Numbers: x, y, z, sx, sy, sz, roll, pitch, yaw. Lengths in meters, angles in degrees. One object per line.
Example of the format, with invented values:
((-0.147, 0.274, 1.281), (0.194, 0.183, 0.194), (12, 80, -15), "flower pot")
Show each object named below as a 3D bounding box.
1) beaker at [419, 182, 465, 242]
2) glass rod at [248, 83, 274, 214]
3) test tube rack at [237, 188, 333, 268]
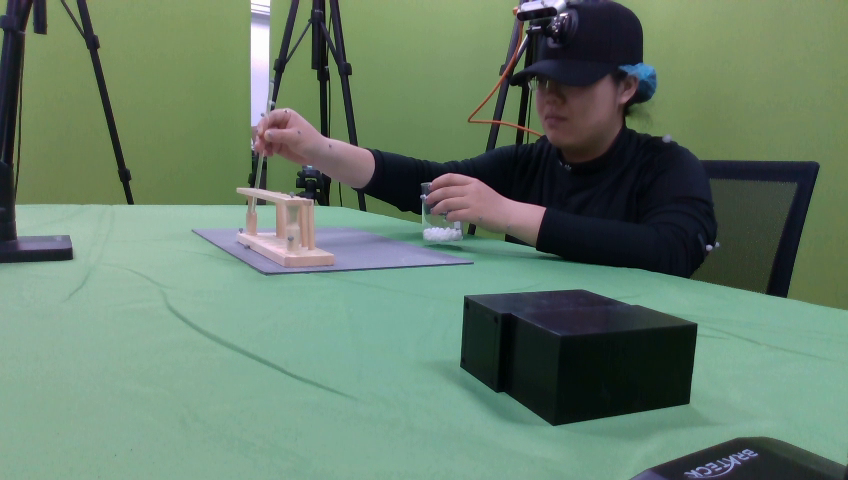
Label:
((0.034, -0.047, 1.017), (0.083, 0.100, 0.074), (3, 6, 42), "beaker")
((-0.245, -0.137, 0.909), (0.008, 0.199, 0.008), (10, 2, 0), "glass rod")
((-0.203, -0.024, 0.854), (0.067, 0.085, 0.241), (-2, 8, -30), "test tube rack")
